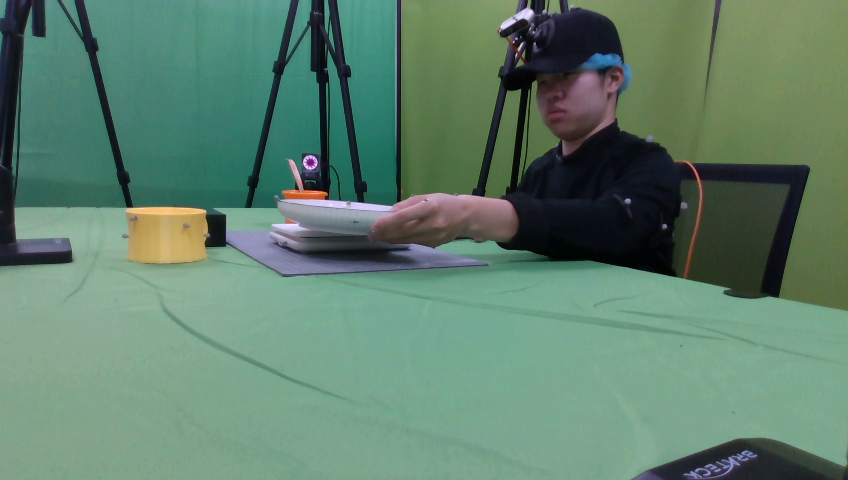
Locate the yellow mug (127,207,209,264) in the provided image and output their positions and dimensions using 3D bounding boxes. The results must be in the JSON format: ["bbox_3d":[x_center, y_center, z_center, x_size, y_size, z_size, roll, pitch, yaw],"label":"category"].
[{"bbox_3d":[-0.339,-0.009,0.827,0.100,0.064,0.131,5,7,17],"label":"yellow mug"}]

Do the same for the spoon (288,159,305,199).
[{"bbox_3d":[-0.259,-0.103,1.268,0.042,0.193,0.021,3,-39,-33],"label":"spoon"}]

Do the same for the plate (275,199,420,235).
[{"bbox_3d":[-0.111,-0.034,0.887,0.209,0.038,0.209,5,5,0],"label":"plate"}]

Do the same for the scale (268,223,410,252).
[{"bbox_3d":[-0.138,-0.006,0.979,0.202,0.031,0.148,-1,8,-30],"label":"scale"}]
